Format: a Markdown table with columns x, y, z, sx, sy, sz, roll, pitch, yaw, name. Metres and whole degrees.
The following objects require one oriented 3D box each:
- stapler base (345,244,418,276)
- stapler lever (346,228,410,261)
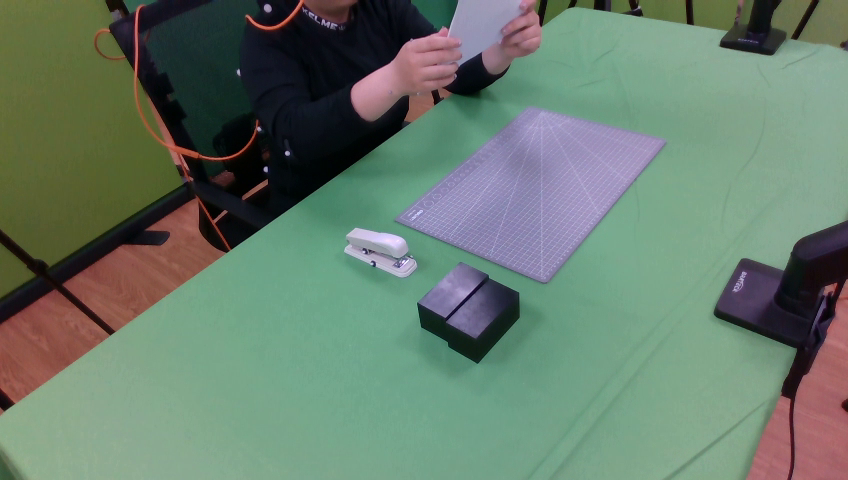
| x | y | z | sx | sy | sz | roll | pitch | yaw | name |
| --- | --- | --- | --- | --- | --- | --- | --- | --- | --- |
| -0.069 | 0.020 | 0.964 | 0.129 | 0.024 | 0.041 | 19 | 45 | 31 | stapler base |
| -0.074 | 0.001 | 0.950 | 0.117 | 0.040 | 0.027 | 20 | 46 | 30 | stapler lever |
